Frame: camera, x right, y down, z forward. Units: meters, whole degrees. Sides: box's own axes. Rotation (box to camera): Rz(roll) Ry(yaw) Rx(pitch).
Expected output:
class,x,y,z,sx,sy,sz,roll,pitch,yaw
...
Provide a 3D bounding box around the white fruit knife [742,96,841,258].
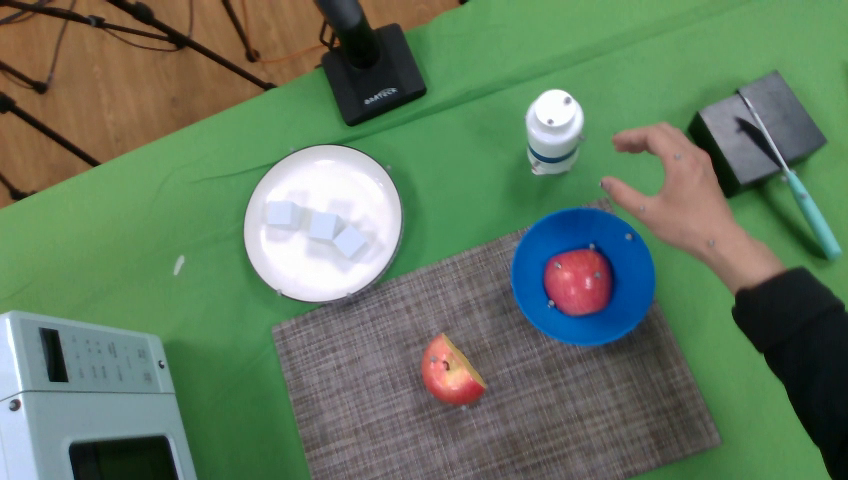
class,x,y,z,sx,sy,sz,roll,pitch,yaw
white fruit knife,0.401,-0.069,0.666,0.016,0.027,0.207,-31,90,20

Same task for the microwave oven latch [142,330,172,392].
class,x,y,z,sx,sy,sz,roll,pitch,yaw
microwave oven latch,-0.337,0.152,0.746,0.030,0.030,0.078,-23,75,3

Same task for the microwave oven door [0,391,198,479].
class,x,y,z,sx,sy,sz,roll,pitch,yaw
microwave oven door,-0.278,0.322,0.589,0.039,0.245,0.353,-23,74,4

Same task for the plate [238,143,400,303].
class,x,y,z,sx,sy,sz,roll,pitch,yaw
plate,-0.131,-0.020,0.771,0.207,0.039,0.206,-2,77,9

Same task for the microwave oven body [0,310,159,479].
class,x,y,z,sx,sy,sz,roll,pitch,yaw
microwave oven body,-0.427,0.343,0.615,0.326,0.262,0.439,-23,75,3

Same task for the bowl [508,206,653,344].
class,x,y,z,sx,sy,sz,roll,pitch,yaw
bowl,0.171,0.044,0.678,0.151,0.077,0.150,-2,77,10

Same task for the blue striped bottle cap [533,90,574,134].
class,x,y,z,sx,sy,sz,roll,pitch,yaw
blue striped bottle cap,0.140,-0.139,0.655,0.044,0.021,0.044,-2,75,8

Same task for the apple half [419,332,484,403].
class,x,y,z,sx,sy,sz,roll,pitch,yaw
apple half,0.025,0.151,0.682,0.053,0.075,0.080,-41,77,2

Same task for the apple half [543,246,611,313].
class,x,y,z,sx,sy,sz,roll,pitch,yaw
apple half,0.173,0.042,0.675,0.081,0.033,0.081,-2,78,10

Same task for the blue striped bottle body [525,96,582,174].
class,x,y,z,sx,sy,sz,roll,pitch,yaw
blue striped bottle body,0.150,-0.126,0.704,0.063,0.121,0.063,-2,76,9
